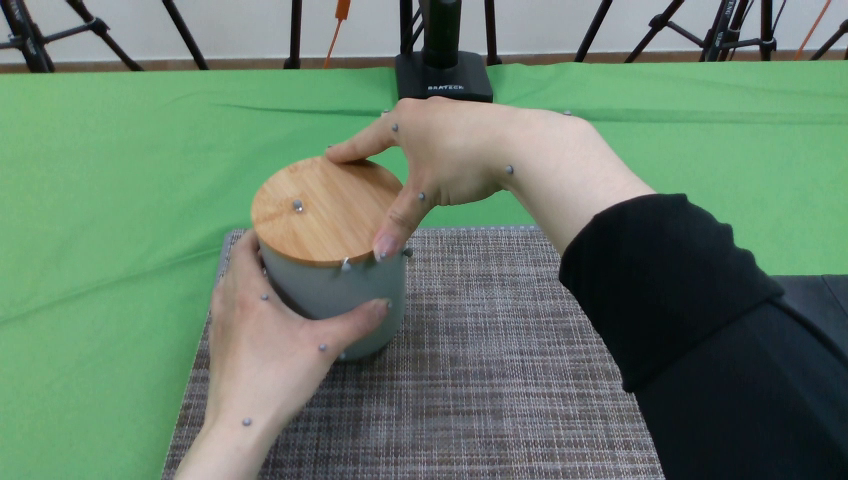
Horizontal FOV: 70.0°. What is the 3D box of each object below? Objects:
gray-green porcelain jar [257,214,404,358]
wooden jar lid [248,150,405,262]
[{"bbox_3d":[-0.068,0.021,0.471,0.106,0.127,0.105,2,45,-1],"label":"gray-green porcelain jar"},{"bbox_3d":[-0.067,-0.023,0.427,0.108,0.021,0.107,3,48,-3],"label":"wooden jar lid"}]
